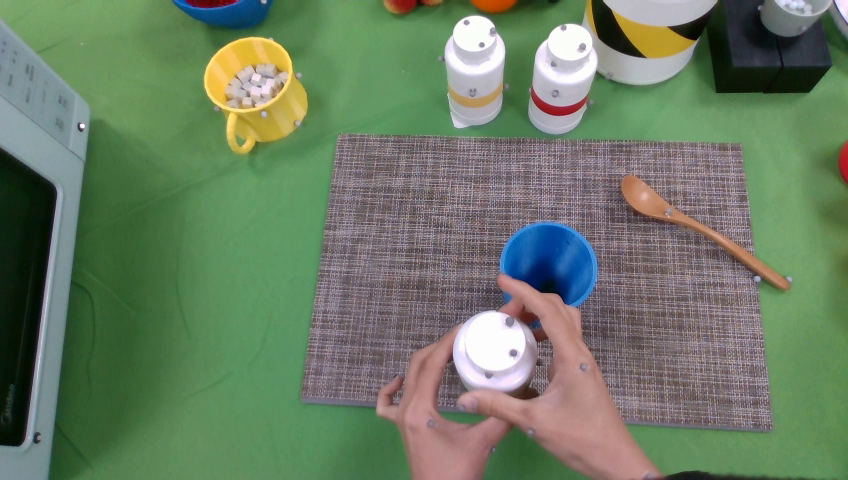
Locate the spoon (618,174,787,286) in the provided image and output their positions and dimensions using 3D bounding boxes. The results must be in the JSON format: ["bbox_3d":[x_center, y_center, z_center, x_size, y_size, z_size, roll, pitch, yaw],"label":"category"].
[{"bbox_3d":[0.282,-0.010,0.619,0.193,0.022,0.041,33,51,15],"label":"spoon"}]

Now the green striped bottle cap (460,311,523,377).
[{"bbox_3d":[0.048,0.073,0.427,0.044,0.020,0.044,-1,66,3],"label":"green striped bottle cap"}]

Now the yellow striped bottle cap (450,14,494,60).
[{"bbox_3d":[0.048,-0.203,0.606,0.044,0.019,0.044,-1,71,4],"label":"yellow striped bottle cap"}]

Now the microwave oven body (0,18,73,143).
[{"bbox_3d":[-0.548,0.012,0.551,0.326,0.262,0.438,-7,70,2],"label":"microwave oven body"}]

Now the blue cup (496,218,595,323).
[{"bbox_3d":[0.108,0.038,0.573,0.092,0.101,0.092,-1,69,3],"label":"blue cup"}]

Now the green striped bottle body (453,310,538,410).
[{"bbox_3d":[0.055,0.094,0.475,0.063,0.120,0.062,-2,67,5],"label":"green striped bottle body"}]

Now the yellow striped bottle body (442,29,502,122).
[{"bbox_3d":[0.052,-0.185,0.654,0.063,0.121,0.062,-2,69,5],"label":"yellow striped bottle body"}]

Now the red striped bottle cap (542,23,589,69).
[{"bbox_3d":[0.138,-0.190,0.593,0.044,0.018,0.044,0,69,1],"label":"red striped bottle cap"}]

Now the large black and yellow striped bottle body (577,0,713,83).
[{"bbox_3d":[0.238,-0.270,0.636,0.131,0.185,0.130,-2,69,5],"label":"large black and yellow striped bottle body"}]

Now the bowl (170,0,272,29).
[{"bbox_3d":[-0.241,-0.318,0.749,0.151,0.077,0.150,-1,70,4],"label":"bowl"}]

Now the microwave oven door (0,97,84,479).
[{"bbox_3d":[-0.400,0.032,0.526,0.039,0.245,0.353,-7,69,3],"label":"microwave oven door"}]

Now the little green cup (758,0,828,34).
[{"bbox_3d":[0.388,-0.252,0.641,0.061,0.039,0.061,-1,68,3],"label":"little green cup"}]

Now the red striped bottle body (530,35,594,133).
[{"bbox_3d":[0.144,-0.171,0.642,0.063,0.120,0.062,-3,67,8],"label":"red striped bottle body"}]

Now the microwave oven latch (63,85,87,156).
[{"bbox_3d":[-0.410,-0.136,0.697,0.030,0.030,0.078,-5,70,3],"label":"microwave oven latch"}]

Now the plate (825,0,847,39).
[{"bbox_3d":[0.560,-0.276,0.690,0.209,0.038,0.207,-1,70,4],"label":"plate"}]

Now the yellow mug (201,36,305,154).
[{"bbox_3d":[-0.199,-0.159,0.693,0.100,0.064,0.130,12,72,8],"label":"yellow mug"}]
